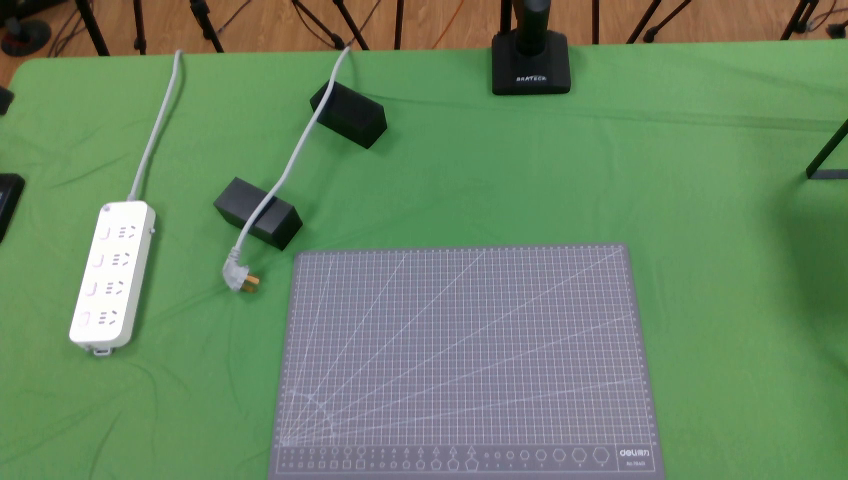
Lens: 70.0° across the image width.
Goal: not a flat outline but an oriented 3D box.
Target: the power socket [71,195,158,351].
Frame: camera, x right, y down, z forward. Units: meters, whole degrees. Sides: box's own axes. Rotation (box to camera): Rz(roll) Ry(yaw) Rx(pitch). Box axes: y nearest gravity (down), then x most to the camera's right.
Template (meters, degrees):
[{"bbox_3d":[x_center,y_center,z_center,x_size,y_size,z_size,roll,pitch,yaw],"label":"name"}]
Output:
[{"bbox_3d":[-0.417,0.036,0.823,0.072,0.033,0.225,-2,63,2],"label":"power socket"}]

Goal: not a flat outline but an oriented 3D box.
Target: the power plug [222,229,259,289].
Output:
[{"bbox_3d":[-0.235,0.030,0.799,0.053,0.035,0.072,29,106,-22],"label":"power plug"}]
